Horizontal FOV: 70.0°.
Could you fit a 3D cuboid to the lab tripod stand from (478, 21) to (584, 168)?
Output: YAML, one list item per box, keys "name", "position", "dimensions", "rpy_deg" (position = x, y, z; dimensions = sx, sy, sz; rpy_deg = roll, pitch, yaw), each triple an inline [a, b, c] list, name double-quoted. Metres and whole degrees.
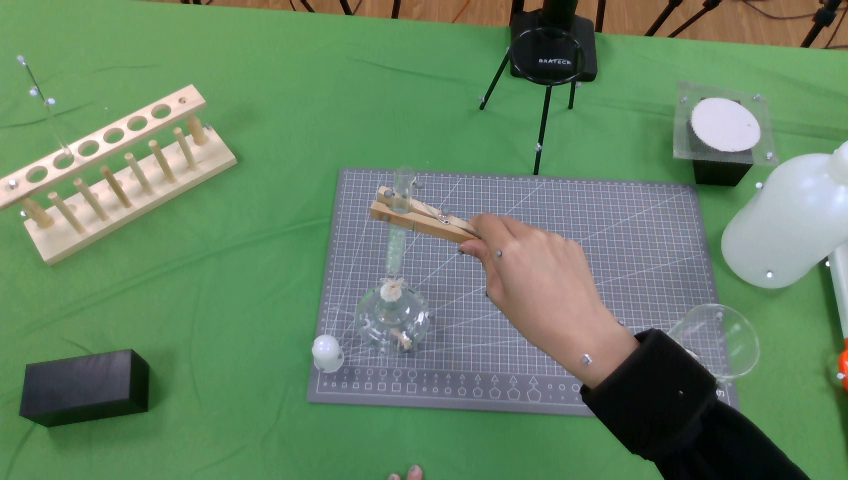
- name: "lab tripod stand"
  position: [0.140, -0.185, 0.749]
  dimensions: [0.148, 0.132, 0.147]
  rpy_deg: [1, 62, -2]

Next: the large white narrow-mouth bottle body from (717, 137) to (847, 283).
- name: "large white narrow-mouth bottle body"
  position: [0.397, -0.037, 0.640]
  dimensions: [0.102, 0.196, 0.101]
  rpy_deg: [1, 61, -1]

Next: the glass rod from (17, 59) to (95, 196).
- name: "glass rod"
  position: [-0.385, -0.107, 0.644]
  dimensions: [0.008, 0.201, 0.008]
  rpy_deg: [3, 53, -4]

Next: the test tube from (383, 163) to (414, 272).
- name: "test tube"
  position: [-0.022, -0.013, 0.496]
  dimensions: [0.017, 0.151, 0.017]
  rpy_deg: [3, 60, -5]

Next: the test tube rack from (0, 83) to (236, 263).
- name: "test tube rack"
  position: [-0.352, -0.080, 0.705]
  dimensions: [0.242, 0.086, 0.066]
  rpy_deg: [-34, 67, -18]

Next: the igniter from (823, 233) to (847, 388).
- name: "igniter"
  position: [0.470, 0.111, 0.657]
  dimensions: [0.057, 0.025, 0.274]
  rpy_deg: [12, 61, -6]

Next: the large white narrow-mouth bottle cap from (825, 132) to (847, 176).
- name: "large white narrow-mouth bottle cap"
  position: [0.398, -0.081, 0.565]
  dimensions: [0.038, 0.024, 0.037]
  rpy_deg: [1, 61, -1]

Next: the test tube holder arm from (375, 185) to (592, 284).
- name: "test tube holder arm"
  position: [0.044, -0.005, 0.468]
  dimensions: [0.178, 0.015, 0.013]
  rpy_deg: [21, 65, 6]

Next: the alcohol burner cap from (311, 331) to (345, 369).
- name: "alcohol burner cap"
  position: [-0.101, 0.113, 0.629]
  dimensions: [0.034, 0.048, 0.033]
  rpy_deg: [0, 63, 1]

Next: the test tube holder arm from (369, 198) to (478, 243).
- name: "test tube holder arm"
  position: [0.000, -0.015, 0.470]
  dimensions: [0.088, 0.015, 0.010]
  rpy_deg: [15, 64, 3]

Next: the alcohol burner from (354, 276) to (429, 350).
- name: "alcohol burner"
  position: [-0.033, 0.068, 0.614]
  dimensions: [0.078, 0.120, 0.077]
  rpy_deg: [2, 60, -3]

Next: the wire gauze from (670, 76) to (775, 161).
- name: "wire gauze"
  position: [0.367, -0.150, 0.751]
  dimensions: [0.121, 0.011, 0.124]
  rpy_deg: [10, 61, 4]

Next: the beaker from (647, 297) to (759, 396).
- name: "beaker"
  position: [0.270, 0.111, 0.607]
  dimensions: [0.084, 0.101, 0.073]
  rpy_deg: [8, 61, 4]
